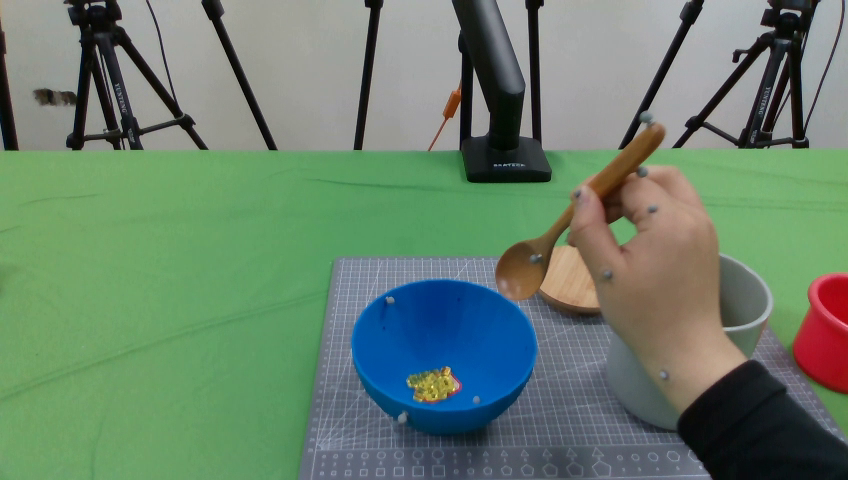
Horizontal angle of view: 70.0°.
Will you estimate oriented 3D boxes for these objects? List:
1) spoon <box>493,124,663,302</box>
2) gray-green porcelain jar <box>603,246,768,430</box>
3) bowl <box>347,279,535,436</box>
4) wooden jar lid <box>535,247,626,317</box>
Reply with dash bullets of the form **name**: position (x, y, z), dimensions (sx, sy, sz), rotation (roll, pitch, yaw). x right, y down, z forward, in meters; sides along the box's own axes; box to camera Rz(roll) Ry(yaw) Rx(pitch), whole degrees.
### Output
- **spoon**: position (0.090, -0.009, 0.390), dimensions (0.022, 0.194, 0.041), rotation (-13, 67, -23)
- **gray-green porcelain jar**: position (0.210, 0.086, 0.505), dimensions (0.106, 0.127, 0.105), rotation (1, 36, 0)
- **bowl**: position (0.013, 0.109, 0.507), dimensions (0.151, 0.077, 0.150), rotation (1, 36, 0)
- **wooden jar lid**: position (0.165, 0.045, 0.654), dimensions (0.108, 0.021, 0.107), rotation (1, 34, 0)
